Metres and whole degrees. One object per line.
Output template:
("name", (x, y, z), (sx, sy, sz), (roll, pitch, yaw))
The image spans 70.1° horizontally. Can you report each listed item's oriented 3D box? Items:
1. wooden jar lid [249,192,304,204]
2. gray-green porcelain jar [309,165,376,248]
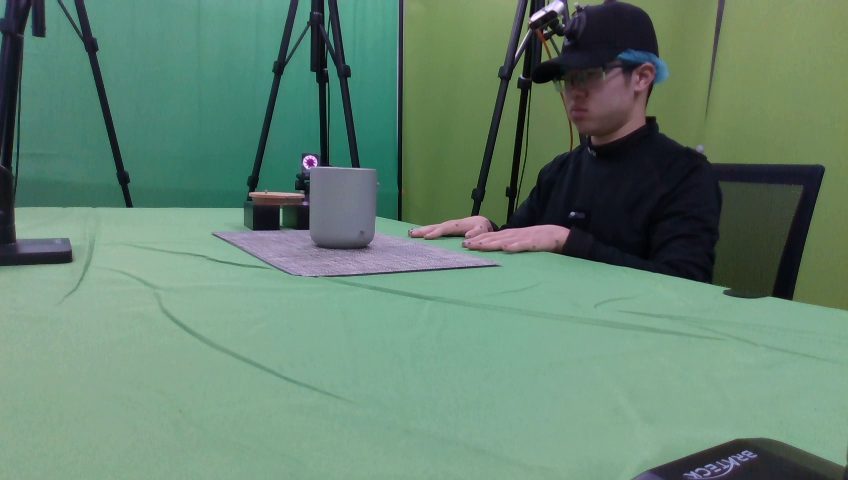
("wooden jar lid", (-0.297, -0.086, 1.220), (0.108, 0.020, 0.108), (4, 7, 0))
("gray-green porcelain jar", (-0.130, -0.054, 0.965), (0.106, 0.126, 0.106), (2, 7, 0))
